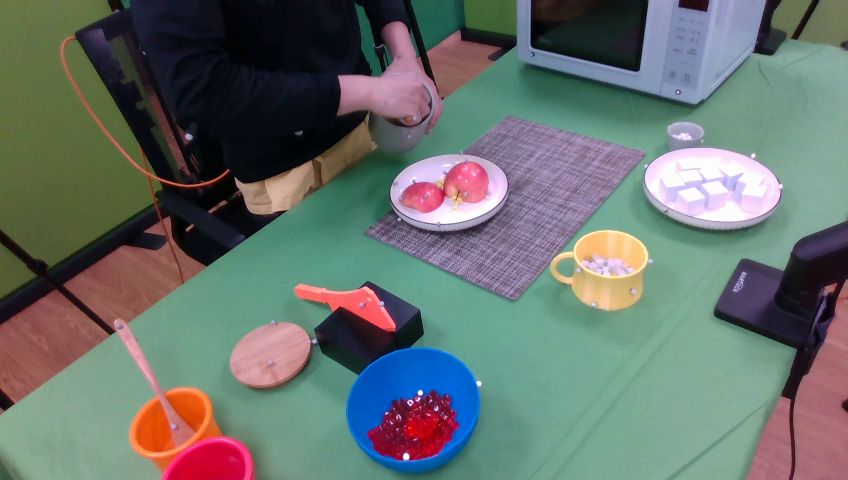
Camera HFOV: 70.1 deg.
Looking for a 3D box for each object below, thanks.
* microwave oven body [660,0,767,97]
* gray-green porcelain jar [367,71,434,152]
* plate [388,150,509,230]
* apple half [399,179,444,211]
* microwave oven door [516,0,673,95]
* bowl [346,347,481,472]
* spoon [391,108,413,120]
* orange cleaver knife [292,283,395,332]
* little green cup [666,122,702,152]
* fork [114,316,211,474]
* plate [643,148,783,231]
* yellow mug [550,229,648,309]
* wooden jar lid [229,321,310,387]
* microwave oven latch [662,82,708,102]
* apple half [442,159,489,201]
[{"bbox_3d":[0.473,-0.516,1.313,0.438,0.261,0.327,26,51,34],"label":"microwave oven body"},{"bbox_3d":[-0.046,-0.223,1.078,0.106,0.126,0.105,3,75,-11],"label":"gray-green porcelain jar"},{"bbox_3d":[0.043,-0.083,1.042,0.209,0.038,0.208,-4,40,4],"label":"plate"},{"bbox_3d":[-0.004,-0.087,1.045,0.081,0.033,0.081,-2,43,2],"label":"apple half"},{"bbox_3d":[0.344,-0.458,1.256,0.353,0.245,0.039,26,51,33],"label":"microwave oven door"},{"bbox_3d":[-0.008,0.205,0.691,0.151,0.077,0.150,-4,40,4],"label":"bowl"},{"bbox_3d":[-0.034,-0.220,1.046,0.042,0.021,0.193,9,11,-7],"label":"spoon"},{"bbox_3d":[-0.115,0.092,0.835,0.209,0.077,0.012,1,32,48],"label":"orange cleaver knife"},{"bbox_3d":[0.471,-0.184,1.102,0.061,0.039,0.061,-5,41,5],"label":"little green cup"},{"bbox_3d":[-0.308,0.179,0.708,0.028,0.018,0.207,-30,89,-23],"label":"fork"},{"bbox_3d":[0.464,-0.080,0.986,0.207,0.039,0.206,-4,41,4],"label":"plate"},{"bbox_3d":[0.245,0.040,0.857,0.130,0.064,0.099,1,42,11],"label":"yellow mug"},{"bbox_3d":[-0.207,0.156,0.820,0.108,0.021,0.108,-3,39,3],"label":"wooden jar lid"},{"bbox_3d":[0.518,-0.299,1.203,0.078,0.029,0.030,29,53,36],"label":"microwave oven latch"},{"bbox_3d":[0.074,-0.110,1.047,0.080,0.053,0.075,21,46,30],"label":"apple half"}]
